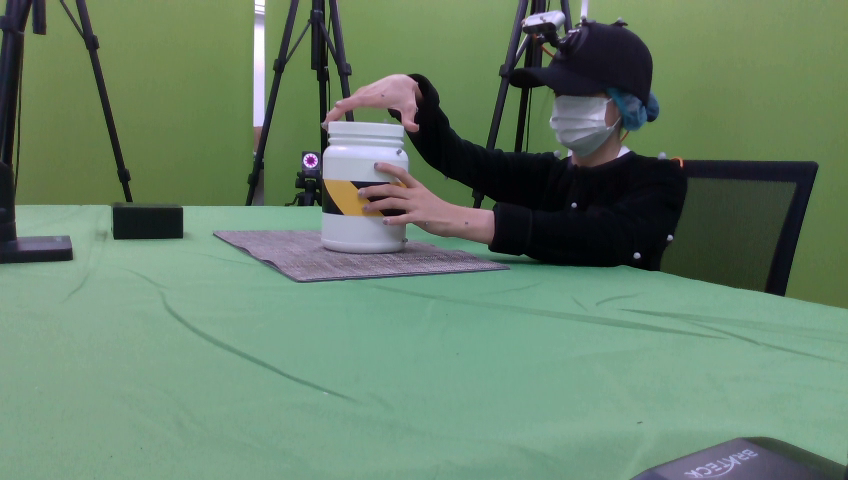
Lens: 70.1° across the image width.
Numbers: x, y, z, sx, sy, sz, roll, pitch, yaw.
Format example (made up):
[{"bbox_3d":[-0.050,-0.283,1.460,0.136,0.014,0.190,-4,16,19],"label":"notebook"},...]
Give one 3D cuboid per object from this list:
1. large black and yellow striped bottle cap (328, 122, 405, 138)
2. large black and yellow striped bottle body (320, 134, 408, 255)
[{"bbox_3d":[-0.086,-0.165,0.908,0.115,0.019,0.115,2,8,0],"label":"large black and yellow striped bottle cap"},{"bbox_3d":[-0.091,-0.076,0.920,0.131,0.184,0.130,3,7,0],"label":"large black and yellow striped bottle body"}]
